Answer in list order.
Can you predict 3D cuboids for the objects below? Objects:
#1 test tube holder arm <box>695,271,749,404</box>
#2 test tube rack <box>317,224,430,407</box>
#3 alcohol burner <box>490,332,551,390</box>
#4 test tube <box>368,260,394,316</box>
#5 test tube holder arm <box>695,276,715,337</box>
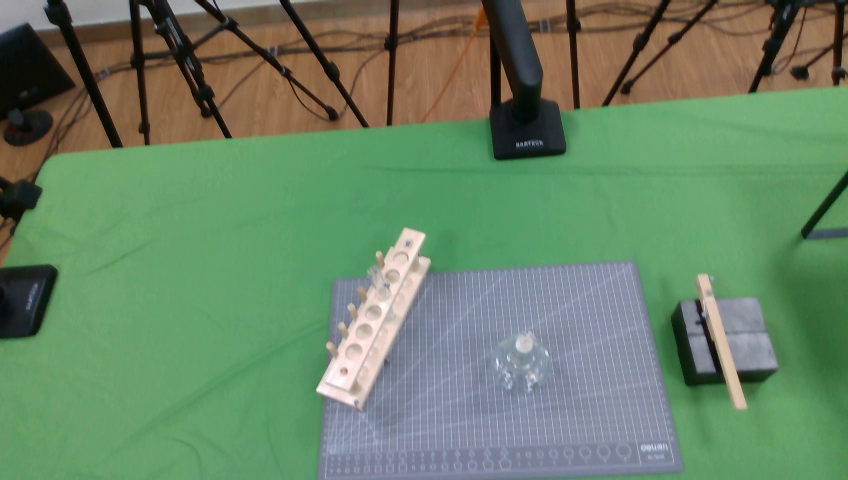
[{"bbox_3d":[0.368,0.117,0.753,0.015,0.013,0.176,-10,54,12],"label":"test tube holder arm"},{"bbox_3d":[-0.071,0.095,0.832,0.066,0.086,0.241,17,62,16],"label":"test tube rack"},{"bbox_3d":[0.122,0.146,0.765,0.078,0.120,0.077,-2,58,3],"label":"alcohol burner"},{"bbox_3d":[-0.055,0.066,0.790,0.017,0.151,0.017,-2,61,4],"label":"test tube"},{"bbox_3d":[0.369,0.083,0.783,0.015,0.010,0.087,-10,54,12],"label":"test tube holder arm"}]
